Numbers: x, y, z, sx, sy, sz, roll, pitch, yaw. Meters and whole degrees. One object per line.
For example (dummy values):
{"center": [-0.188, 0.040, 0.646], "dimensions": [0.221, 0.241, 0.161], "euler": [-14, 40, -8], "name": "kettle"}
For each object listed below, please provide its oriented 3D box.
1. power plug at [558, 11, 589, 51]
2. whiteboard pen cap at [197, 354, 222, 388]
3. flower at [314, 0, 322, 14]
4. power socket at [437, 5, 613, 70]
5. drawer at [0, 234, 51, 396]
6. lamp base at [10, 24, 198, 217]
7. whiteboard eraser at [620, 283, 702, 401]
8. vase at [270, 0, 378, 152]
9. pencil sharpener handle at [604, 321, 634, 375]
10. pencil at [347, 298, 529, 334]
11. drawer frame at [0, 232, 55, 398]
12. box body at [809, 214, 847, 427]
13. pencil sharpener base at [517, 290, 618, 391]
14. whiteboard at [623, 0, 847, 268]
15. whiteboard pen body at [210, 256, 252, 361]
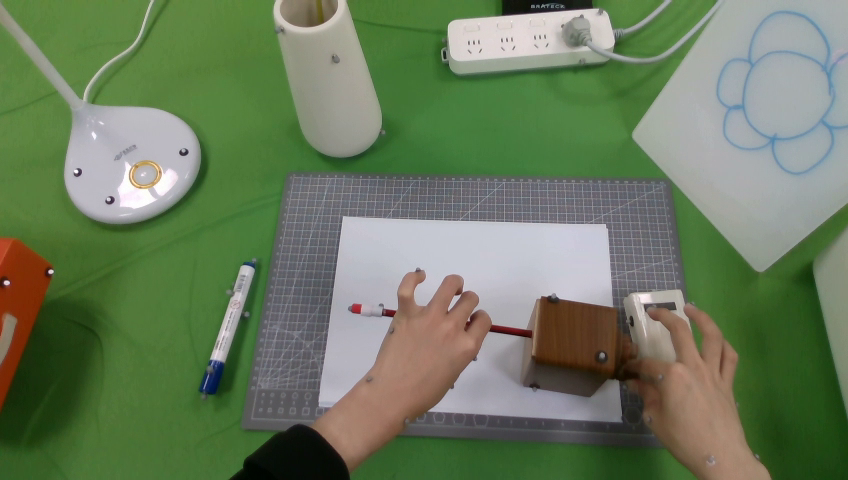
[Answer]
{"center": [0.182, -0.249, 0.747], "dimensions": [0.035, 0.053, 0.072], "euler": [5, 66, 5], "name": "power plug"}
{"center": [-0.215, 0.131, 0.609], "dimensions": [0.018, 0.018, 0.033], "euler": [6, 59, 6], "name": "whiteboard pen cap"}
{"center": [-0.104, -0.235, 0.595], "dimensions": [0.038, 0.365, 0.043], "euler": [-10, 46, -10], "name": "flower"}
{"center": [0.130, -0.261, 0.781], "dimensions": [0.227, 0.033, 0.071], "euler": [-4, 65, 0], "name": "power socket"}
{"center": [-0.495, 0.086, 0.565], "dimensions": [0.211, 0.074, 0.193], "euler": [4, 66, 4], "name": "drawer"}
{"center": [-0.365, -0.138, 0.660], "dimensions": [0.178, 0.182, 0.160], "euler": [32, 69, 19], "name": "lamp base"}
{"center": [0.232, 0.100, 0.598], "dimensions": [0.055, 0.042, 0.111], "euler": [-3, 64, -1], "name": "whiteboard eraser"}
{"center": [-0.108, -0.183, 0.661], "dimensions": [0.098, 0.201, 0.097], "euler": [-1, 64, 3], "name": "vase"}
{"center": [0.182, 0.102, 0.549], "dimensions": [0.030, 0.068, 0.035], "euler": [8, 51, 6], "name": "pencil sharpener handle"}
{"center": [0.026, 0.071, 0.549], "dimensions": [0.194, 0.012, 0.012], "euler": [8, 65, 2], "name": "pencil"}
{"center": [-0.501, 0.088, 0.566], "dimensions": [0.213, 0.083, 0.200], "euler": [5, 66, 2], "name": "drawer frame"}
{"center": [0.514, 0.130, 0.509], "dimensions": [0.254, 0.161, 0.361], "euler": [1, 65, 3], "name": "box body"}
{"center": [0.133, 0.097, 0.567], "dimensions": [0.076, 0.108, 0.061], "euler": [8, 65, 6], "name": "pencil sharpener base"}
{"center": [0.389, -0.156, 0.604], "dimensions": [0.144, 0.307, 0.215], "euler": [-20, 63, -28], "name": "whiteboard"}
{"center": [-0.206, 0.080, 0.637], "dimensions": [0.017, 0.017, 0.139], "euler": [6, 61, 6], "name": "whiteboard pen body"}
